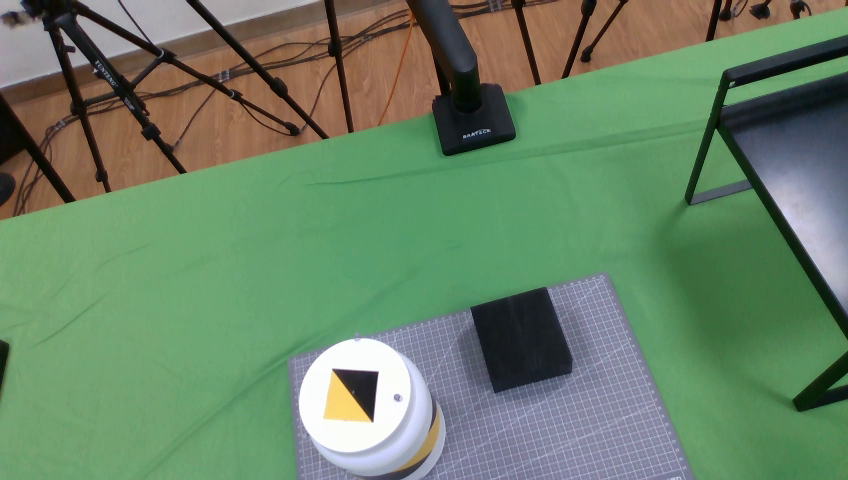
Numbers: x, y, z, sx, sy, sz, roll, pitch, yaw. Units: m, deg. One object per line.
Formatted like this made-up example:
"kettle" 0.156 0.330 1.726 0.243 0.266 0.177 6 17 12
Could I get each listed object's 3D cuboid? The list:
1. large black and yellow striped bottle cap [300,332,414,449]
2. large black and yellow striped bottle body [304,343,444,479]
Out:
"large black and yellow striped bottle cap" -0.067 0.148 0.604 0.115 0.019 0.114 -5 60 10
"large black and yellow striped bottle body" -0.053 0.189 0.677 0.130 0.186 0.129 -5 60 8
